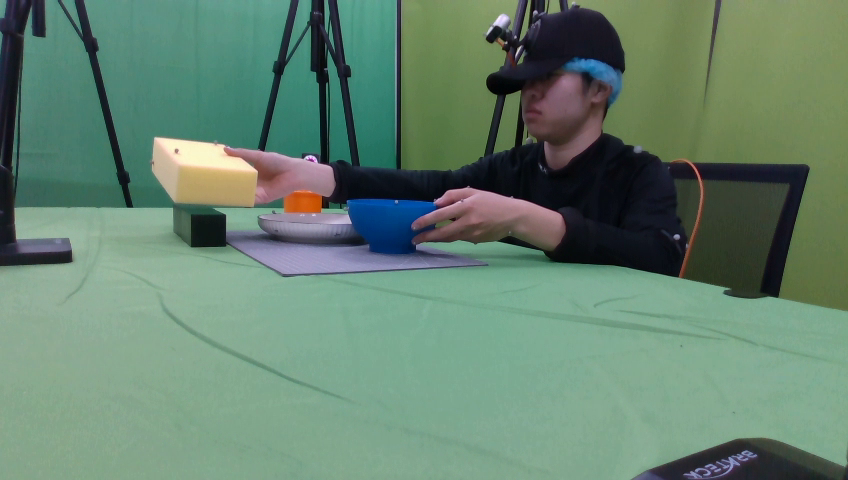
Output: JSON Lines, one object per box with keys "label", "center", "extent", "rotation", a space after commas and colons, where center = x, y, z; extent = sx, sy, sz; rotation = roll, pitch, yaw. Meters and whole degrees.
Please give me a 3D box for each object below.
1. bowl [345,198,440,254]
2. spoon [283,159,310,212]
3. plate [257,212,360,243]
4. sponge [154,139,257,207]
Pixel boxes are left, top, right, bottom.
{"label": "bowl", "center": [-0.051, -0.022, 0.952], "extent": [0.151, 0.077, 0.151], "rotation": [3, 7, 0]}
{"label": "spoon", "center": [-0.279, -0.111, 1.324], "extent": [0.042, 0.193, 0.021], "rotation": [2, -38, -35]}
{"label": "plate", "center": [-0.189, -0.023, 1.072], "extent": [0.209, 0.038, 0.209], "rotation": [3, 7, 0]}
{"label": "sponge", "center": [-0.368, -0.114, 1.005], "extent": [0.119, 0.061, 0.205], "rotation": [1, 18, -34]}
